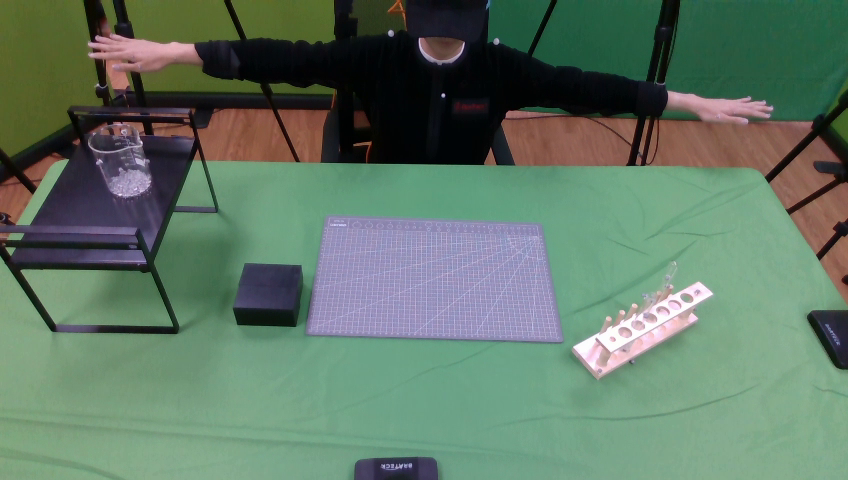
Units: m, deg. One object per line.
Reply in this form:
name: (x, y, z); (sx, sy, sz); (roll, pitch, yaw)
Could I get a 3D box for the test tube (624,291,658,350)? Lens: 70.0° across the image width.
test tube: (0.348, 0.133, 0.974); (0.017, 0.151, 0.017); (1, 47, -1)

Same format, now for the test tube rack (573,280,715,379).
test tube rack: (0.378, 0.140, 1.038); (0.242, 0.085, 0.066); (-22, 51, -23)

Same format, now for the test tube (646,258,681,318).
test tube: (0.406, 0.084, 1.032); (0.017, 0.151, 0.017); (1, 47, -1)

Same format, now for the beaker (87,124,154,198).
beaker: (-0.482, -0.124, 0.978); (0.084, 0.101, 0.073); (9, 46, 4)
